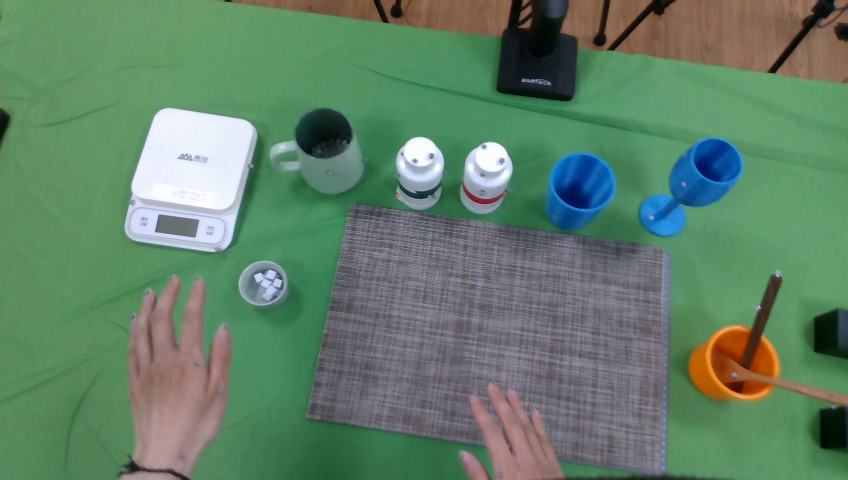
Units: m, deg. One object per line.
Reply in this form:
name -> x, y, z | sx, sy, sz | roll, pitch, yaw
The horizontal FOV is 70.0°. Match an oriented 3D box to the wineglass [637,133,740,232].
wineglass -> 0.342, -0.070, 0.796 | 0.074, 0.173, 0.073 | 0, 71, -1

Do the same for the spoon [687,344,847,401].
spoon -> 0.415, 0.164, 0.733 | 0.022, 0.192, 0.041 | 31, 76, -37

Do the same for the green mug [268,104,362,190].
green mug -> -0.151, -0.123, 0.834 | 0.125, 0.105, 0.092 | -12, 72, -5

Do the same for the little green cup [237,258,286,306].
little green cup -> -0.213, 0.058, 0.805 | 0.061, 0.039, 0.061 | 1, 72, -3

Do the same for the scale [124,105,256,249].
scale -> -0.329, -0.091, 0.854 | 0.148, 0.032, 0.199 | 8, 72, 1

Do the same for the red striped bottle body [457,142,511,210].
red striped bottle body -> 0.081, -0.090, 0.823 | 0.063, 0.120, 0.062 | 1, 71, -2

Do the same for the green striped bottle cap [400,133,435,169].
green striped bottle cap -> -0.008, -0.114, 0.772 | 0.044, 0.020, 0.044 | 1, 71, -2

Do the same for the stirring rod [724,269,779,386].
stirring rod -> 0.404, 0.112, 0.750 | 0.014, 0.177, 0.006 | 13, 30, 16

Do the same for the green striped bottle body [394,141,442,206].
green striped bottle body -> -0.008, -0.096, 0.822 | 0.063, 0.120, 0.063 | 1, 70, -1

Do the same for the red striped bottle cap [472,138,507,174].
red striped bottle cap -> 0.084, -0.108, 0.773 | 0.044, 0.018, 0.044 | 0, 73, -1

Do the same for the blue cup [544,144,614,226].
blue cup -> 0.204, -0.064, 0.828 | 0.092, 0.101, 0.092 | 0, 71, 1
